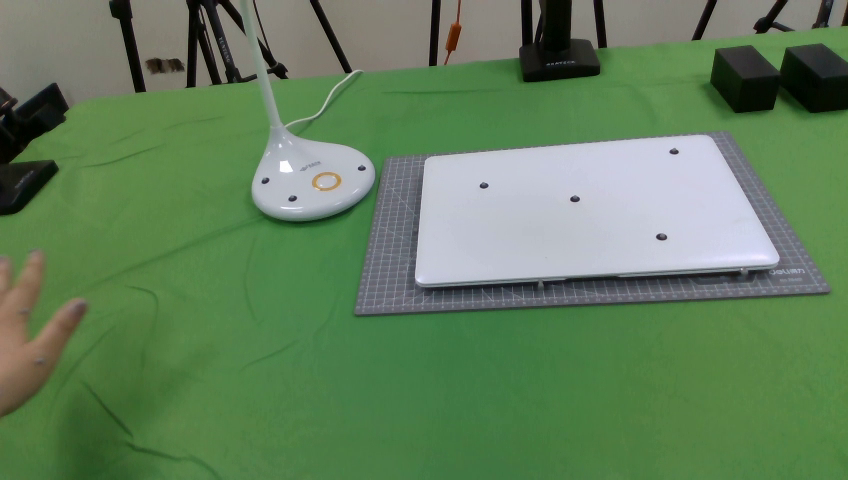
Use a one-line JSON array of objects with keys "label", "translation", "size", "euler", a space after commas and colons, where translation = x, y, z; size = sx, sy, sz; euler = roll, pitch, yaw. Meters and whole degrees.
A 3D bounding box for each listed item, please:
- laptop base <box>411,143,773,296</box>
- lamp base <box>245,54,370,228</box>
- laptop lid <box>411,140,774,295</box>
[{"label": "laptop base", "translation": [0.165, -0.027, 0.683], "size": [0.354, 0.023, 0.233], "euler": [-4, 42, 6]}, {"label": "lamp base", "translation": [-0.168, -0.131, 0.746], "size": [0.177, 0.182, 0.160], "euler": [24, 48, 37]}, {"label": "laptop lid", "translation": [0.164, -0.034, 0.673], "size": [0.356, 0.013, 0.239], "euler": [-3, 41, 7]}]
